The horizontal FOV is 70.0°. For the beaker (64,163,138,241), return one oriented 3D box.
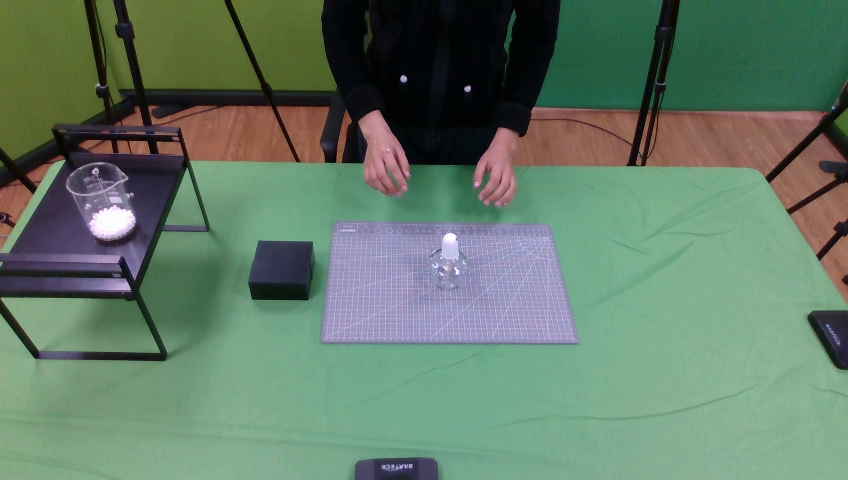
[{"bbox_3d":[-0.477,-0.055,0.910,0.084,0.101,0.073,-9,48,-13],"label":"beaker"}]

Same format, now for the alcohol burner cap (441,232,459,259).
[{"bbox_3d":[0.046,0.007,1.075,0.034,0.048,0.033,0,43,0],"label":"alcohol burner cap"}]

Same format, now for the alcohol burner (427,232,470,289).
[{"bbox_3d":[0.045,0.032,1.099,0.078,0.120,0.077,0,46,0],"label":"alcohol burner"}]
